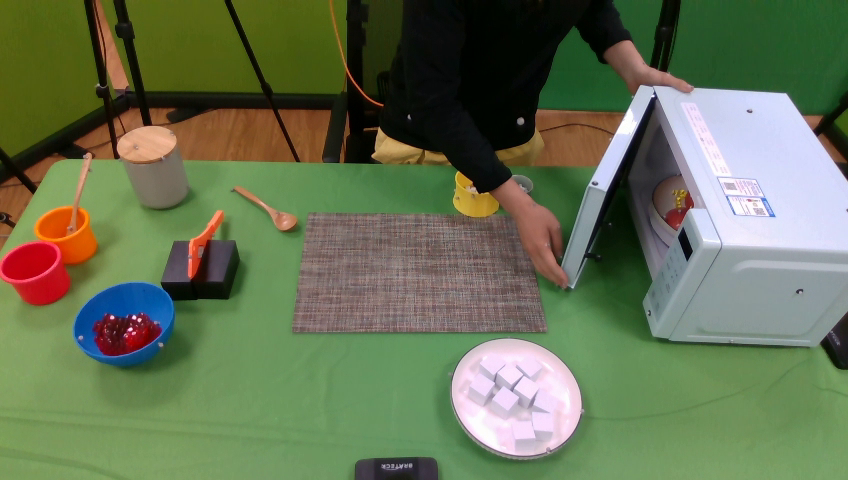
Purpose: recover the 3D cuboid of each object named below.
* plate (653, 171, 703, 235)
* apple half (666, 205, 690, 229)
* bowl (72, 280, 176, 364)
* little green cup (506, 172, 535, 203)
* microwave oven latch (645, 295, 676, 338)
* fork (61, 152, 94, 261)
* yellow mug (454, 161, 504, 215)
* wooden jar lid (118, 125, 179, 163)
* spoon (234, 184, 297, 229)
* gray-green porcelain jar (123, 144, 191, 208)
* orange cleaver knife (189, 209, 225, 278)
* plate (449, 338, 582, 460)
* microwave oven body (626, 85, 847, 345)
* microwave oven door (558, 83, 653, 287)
[{"bbox_3d":[0.552,-0.054,1.188,0.209,0.038,0.208,2,47,-2],"label":"plate"},{"bbox_3d":[0.508,-0.046,1.169,0.081,0.033,0.081,4,46,-4],"label":"apple half"},{"bbox_3d":[-0.473,0.146,0.982,0.151,0.077,0.150,2,46,-2],"label":"bowl"},{"bbox_3d":[0.205,-0.111,1.301,0.061,0.039,0.061,3,47,-3],"label":"little green cup"},{"bbox_3d":[0.413,0.134,1.062,0.030,0.029,0.078,2,46,-1],"label":"microwave oven latch"},{"bbox_3d":[-0.638,-0.063,1.120,0.028,0.018,0.207,12,90,7],"label":"fork"},{"bbox_3d":[0.117,-0.119,1.283,0.100,0.064,0.130,9,43,5],"label":"yellow mug"},{"bbox_3d":[-0.528,-0.181,1.167,0.108,0.021,0.107,4,48,-4],"label":"wooden jar lid"},{"bbox_3d":[-0.327,-0.073,1.240,0.193,0.022,0.041,34,70,25],"label":"spoon"},{"bbox_3d":[-0.531,-0.137,1.214,0.106,0.127,0.105,2,47,-2],"label":"gray-green porcelain jar"},{"bbox_3d":[-0.401,0.002,1.122,0.012,0.077,0.210,4,23,-4],"label":"orange cleaver knife"},{"bbox_3d":[0.141,0.251,0.956,0.208,0.039,0.206,2,46,-2],"label":"plate"},{"bbox_3d":[0.570,-0.054,1.116,0.326,0.261,0.439,2,46,0],"label":"microwave oven body"},{"bbox_3d":[0.350,-0.112,1.149,0.039,0.245,0.355,22,49,17],"label":"microwave oven door"}]
